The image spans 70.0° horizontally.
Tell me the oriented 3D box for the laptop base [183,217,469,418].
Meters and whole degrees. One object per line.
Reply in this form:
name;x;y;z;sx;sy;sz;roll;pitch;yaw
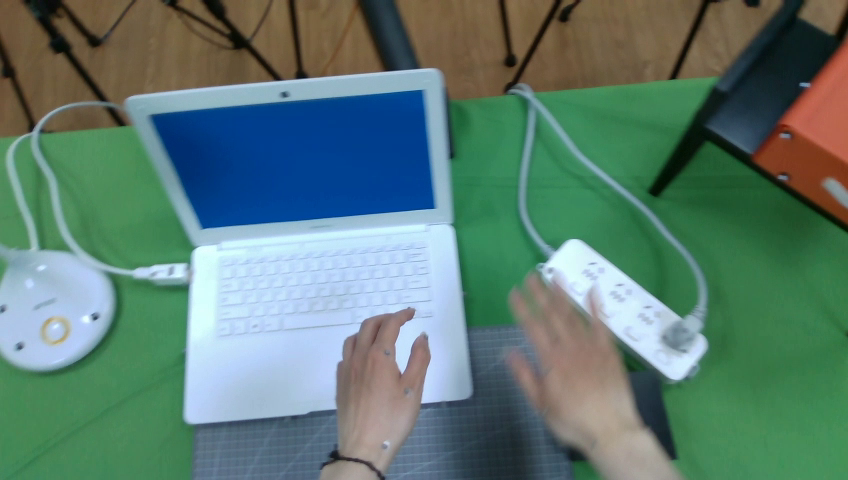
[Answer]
laptop base;-0.128;0.094;0.781;0.354;0.023;0.234;-5;72;0

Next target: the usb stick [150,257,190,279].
usb stick;-0.327;0.037;0.799;0.059;0.027;0.021;-1;63;-1

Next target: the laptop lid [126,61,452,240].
laptop lid;-0.146;-0.098;0.742;0.357;0.244;0.013;-6;44;1

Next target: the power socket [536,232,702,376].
power socket;0.245;0.078;0.764;0.225;0.033;0.072;41;76;16

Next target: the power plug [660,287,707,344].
power plug;0.317;0.096;0.730;0.072;0.053;0.035;-35;71;-12

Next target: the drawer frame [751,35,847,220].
drawer frame;0.484;-0.116;0.609;0.200;0.083;0.213;39;75;16

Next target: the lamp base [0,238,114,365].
lamp base;-0.499;0.047;0.726;0.160;0.181;0.178;-34;69;-10

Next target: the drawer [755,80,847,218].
drawer;0.484;-0.113;0.609;0.193;0.074;0.211;40;75;16

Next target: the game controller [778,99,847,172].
game controller;0.456;-0.078;0.612;0.097;0.052;0.154;-44;71;-9
